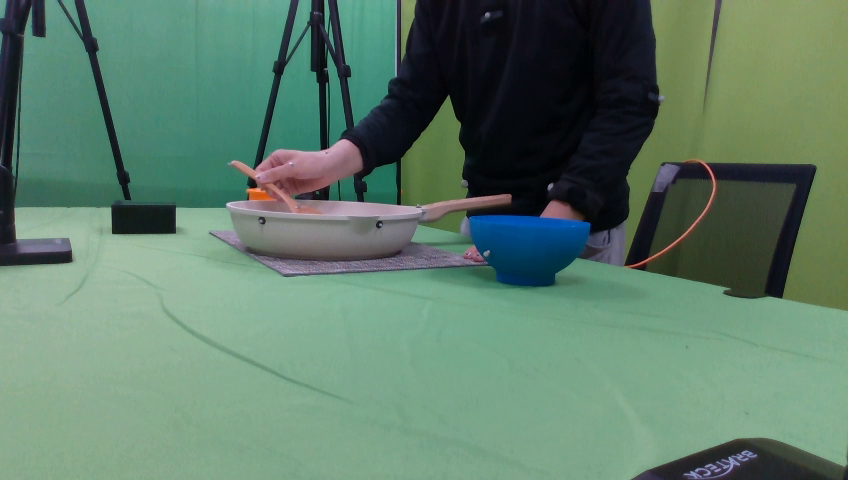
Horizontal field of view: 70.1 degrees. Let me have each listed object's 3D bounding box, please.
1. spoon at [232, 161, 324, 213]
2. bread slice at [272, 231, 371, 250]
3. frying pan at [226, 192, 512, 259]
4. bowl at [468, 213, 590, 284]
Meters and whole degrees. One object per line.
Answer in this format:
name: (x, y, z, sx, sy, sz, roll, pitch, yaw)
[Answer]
spoon: (-0.230, -0.075, 0.953, 0.193, 0.021, 0.042, 37, 58, 12)
bread slice: (-0.148, 0.000, 0.929, 0.133, 0.018, 0.107, 6, 8, 38)
frying pan: (-0.058, -0.041, 0.974, 0.490, 0.102, 0.305, -11, 13, -26)
bowl: (0.128, 0.011, 0.755, 0.151, 0.077, 0.151, 2, 7, 0)
